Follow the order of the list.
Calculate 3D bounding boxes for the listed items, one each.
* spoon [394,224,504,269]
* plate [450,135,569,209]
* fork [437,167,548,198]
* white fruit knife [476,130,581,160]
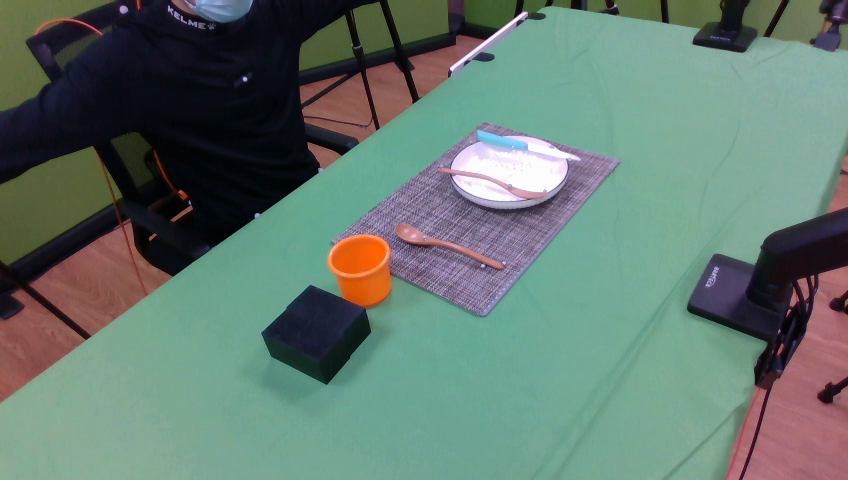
[{"bbox_3d":[0.037,0.010,0.945,0.192,0.022,0.042,18,29,26],"label":"spoon"},{"bbox_3d":[0.149,-0.117,1.065,0.209,0.038,0.208,-3,41,3],"label":"plate"},{"bbox_3d":[0.110,-0.099,1.017,0.206,0.019,0.028,20,38,26],"label":"fork"},{"bbox_3d":[0.184,-0.170,1.089,0.206,0.016,0.027,18,43,25],"label":"white fruit knife"}]
